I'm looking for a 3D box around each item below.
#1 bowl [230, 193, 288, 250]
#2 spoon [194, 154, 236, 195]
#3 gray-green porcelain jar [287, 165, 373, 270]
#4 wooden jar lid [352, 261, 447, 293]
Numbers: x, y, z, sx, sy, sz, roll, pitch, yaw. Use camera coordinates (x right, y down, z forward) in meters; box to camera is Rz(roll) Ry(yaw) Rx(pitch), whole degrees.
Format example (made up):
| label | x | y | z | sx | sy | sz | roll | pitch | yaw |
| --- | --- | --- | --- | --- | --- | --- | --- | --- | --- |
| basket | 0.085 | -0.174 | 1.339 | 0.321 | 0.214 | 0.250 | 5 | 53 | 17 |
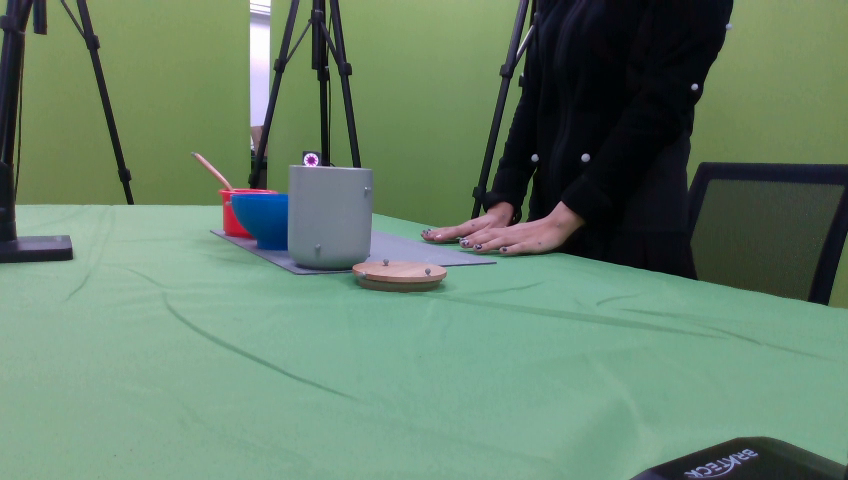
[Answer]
| label | x | y | z | sx | sy | sz | roll | pitch | yaw |
| --- | --- | --- | --- | --- | --- | --- | --- | --- | --- |
| bowl | -0.214 | -0.028 | 0.912 | 0.151 | 0.077 | 0.151 | 2 | 8 | 0 |
| spoon | -0.334 | -0.083 | 1.042 | 0.193 | 0.021 | 0.042 | 50 | 23 | 11 |
| gray-green porcelain jar | -0.119 | -0.029 | 0.767 | 0.106 | 0.126 | 0.106 | 2 | 7 | 0 |
| wooden jar lid | -0.028 | 0.042 | 0.686 | 0.108 | 0.020 | 0.108 | 3 | 8 | 0 |
